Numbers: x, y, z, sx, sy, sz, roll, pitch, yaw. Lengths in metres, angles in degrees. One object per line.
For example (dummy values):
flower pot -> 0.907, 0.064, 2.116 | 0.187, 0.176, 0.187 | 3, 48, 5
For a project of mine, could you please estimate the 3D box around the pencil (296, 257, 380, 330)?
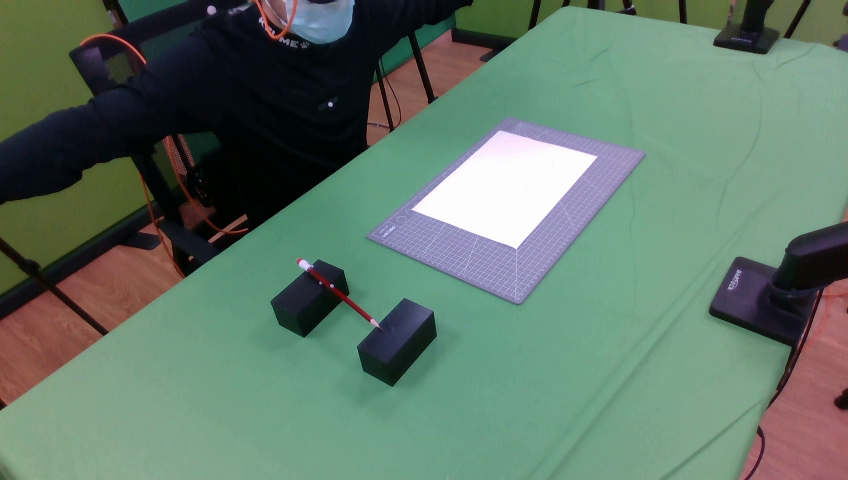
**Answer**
pencil -> -0.122, 0.072, 0.838 | 0.012, 0.012, 0.192 | -33, 49, -28
